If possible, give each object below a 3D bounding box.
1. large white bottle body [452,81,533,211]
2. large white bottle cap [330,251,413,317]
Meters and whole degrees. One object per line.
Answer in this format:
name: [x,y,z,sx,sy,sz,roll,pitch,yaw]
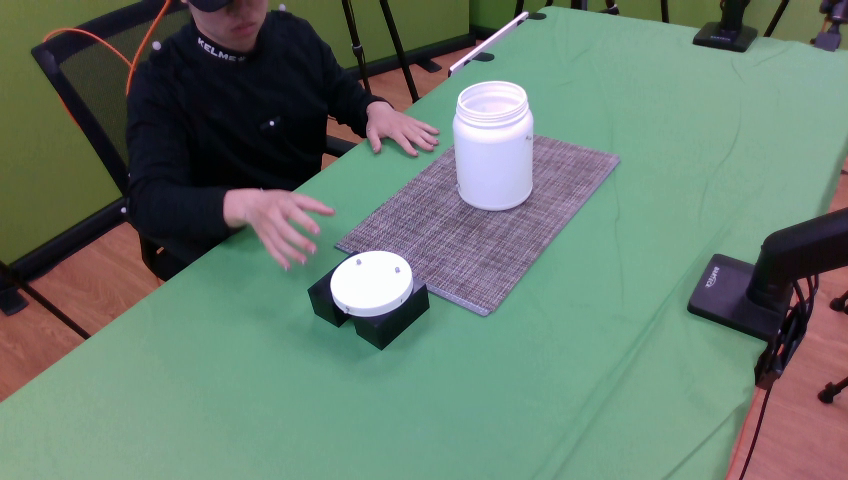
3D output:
large white bottle body: [0.115,-0.156,1.002,0.130,0.185,0.130,-5,41,4]
large white bottle cap: [-0.072,0.059,0.836,0.115,0.018,0.114,-4,40,4]
